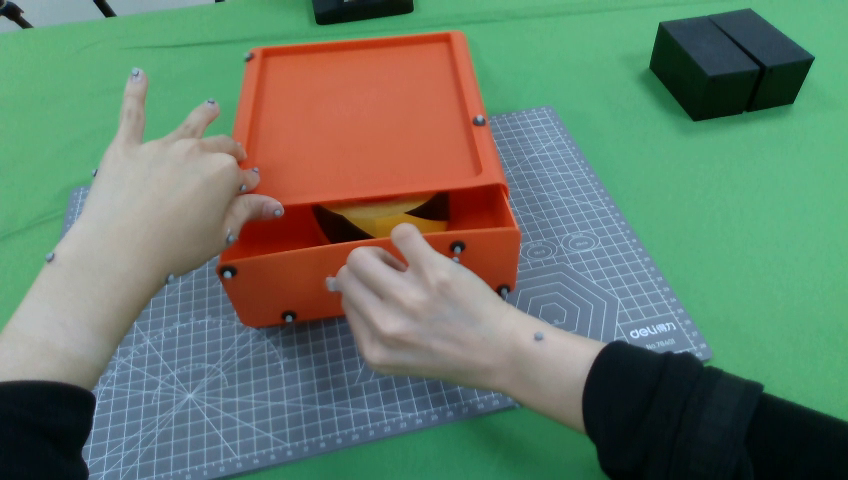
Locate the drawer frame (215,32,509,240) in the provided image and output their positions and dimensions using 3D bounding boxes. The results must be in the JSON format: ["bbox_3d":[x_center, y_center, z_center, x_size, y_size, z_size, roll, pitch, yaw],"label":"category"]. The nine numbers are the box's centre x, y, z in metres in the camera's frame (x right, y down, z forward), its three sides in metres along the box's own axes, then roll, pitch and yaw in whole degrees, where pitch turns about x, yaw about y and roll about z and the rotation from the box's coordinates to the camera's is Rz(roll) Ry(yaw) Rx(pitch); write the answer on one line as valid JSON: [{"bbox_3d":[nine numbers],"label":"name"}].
[{"bbox_3d":[-0.050,-0.076,0.500,0.202,0.083,0.211,-7,47,-2],"label":"drawer frame"}]

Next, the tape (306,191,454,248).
[{"bbox_3d":[-0.036,-0.037,0.474,0.117,0.053,0.115,-2,49,2],"label":"tape"}]

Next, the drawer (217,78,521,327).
[{"bbox_3d":[-0.044,-0.043,0.472,0.194,0.074,0.209,-7,47,-3],"label":"drawer"}]
